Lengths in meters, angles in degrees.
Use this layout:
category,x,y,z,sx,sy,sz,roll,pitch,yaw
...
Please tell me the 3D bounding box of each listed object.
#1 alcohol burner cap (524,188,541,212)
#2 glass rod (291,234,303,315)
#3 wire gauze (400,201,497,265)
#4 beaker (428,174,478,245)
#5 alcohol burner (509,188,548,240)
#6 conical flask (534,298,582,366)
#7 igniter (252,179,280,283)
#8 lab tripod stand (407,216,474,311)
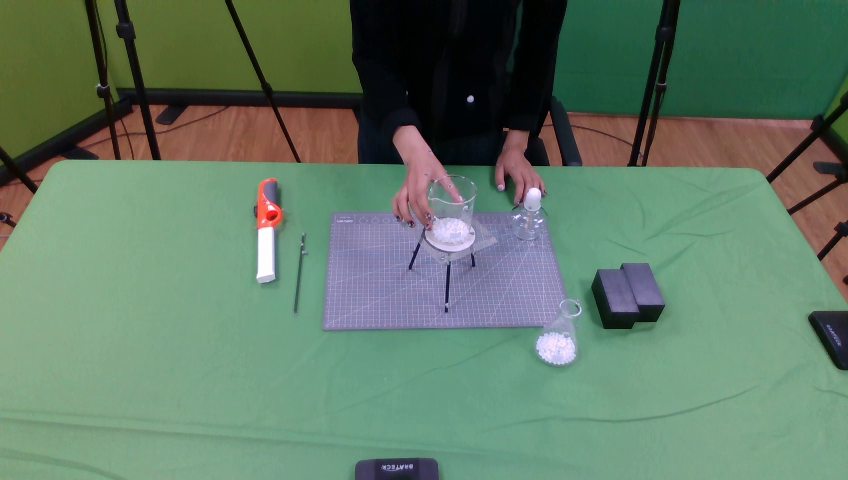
category,x,y,z,sx,sy,sz,roll,pitch,yaw
alcohol burner cap,0.212,-0.081,1.177,0.034,0.048,0.033,-2,54,3
glass rod,-0.236,0.059,1.133,0.008,0.008,0.198,-1,46,-4
wire gauze,0.042,-0.013,1.043,0.125,0.011,0.120,-24,49,-24
beaker,0.043,-0.047,1.009,0.084,0.101,0.073,-16,47,-19
alcohol burner,0.211,-0.057,1.204,0.078,0.120,0.077,1,47,-1
conical flask,0.229,0.149,1.005,0.075,0.122,0.075,2,46,-2
igniter,-0.313,-0.027,1.197,0.057,0.025,0.274,-12,47,-1
lab tripod stand,0.039,0.030,1.093,0.148,0.132,0.147,3,44,-2
